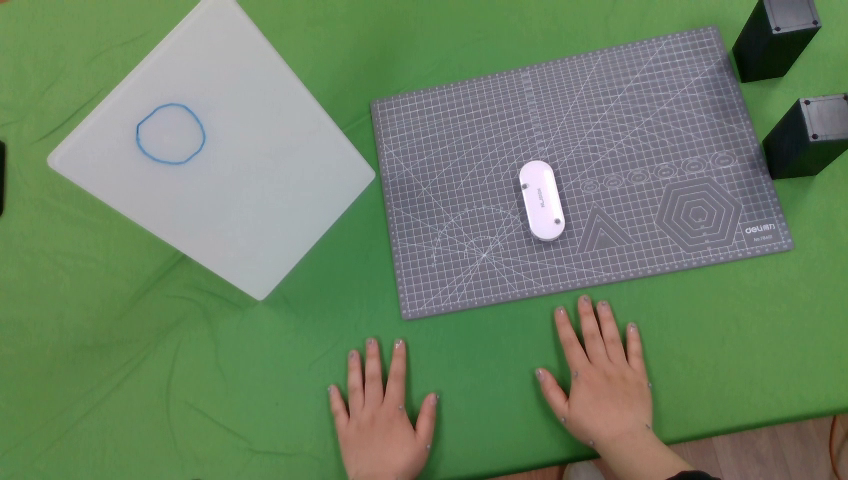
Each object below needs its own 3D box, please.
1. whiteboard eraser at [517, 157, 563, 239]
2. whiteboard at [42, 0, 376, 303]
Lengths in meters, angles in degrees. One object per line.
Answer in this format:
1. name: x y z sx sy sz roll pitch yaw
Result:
1. whiteboard eraser: 0.137 -0.051 0.721 0.041 0.019 0.100 -11 74 4
2. whiteboard: -0.234 -0.106 0.677 0.217 0.309 0.142 -49 53 -6
